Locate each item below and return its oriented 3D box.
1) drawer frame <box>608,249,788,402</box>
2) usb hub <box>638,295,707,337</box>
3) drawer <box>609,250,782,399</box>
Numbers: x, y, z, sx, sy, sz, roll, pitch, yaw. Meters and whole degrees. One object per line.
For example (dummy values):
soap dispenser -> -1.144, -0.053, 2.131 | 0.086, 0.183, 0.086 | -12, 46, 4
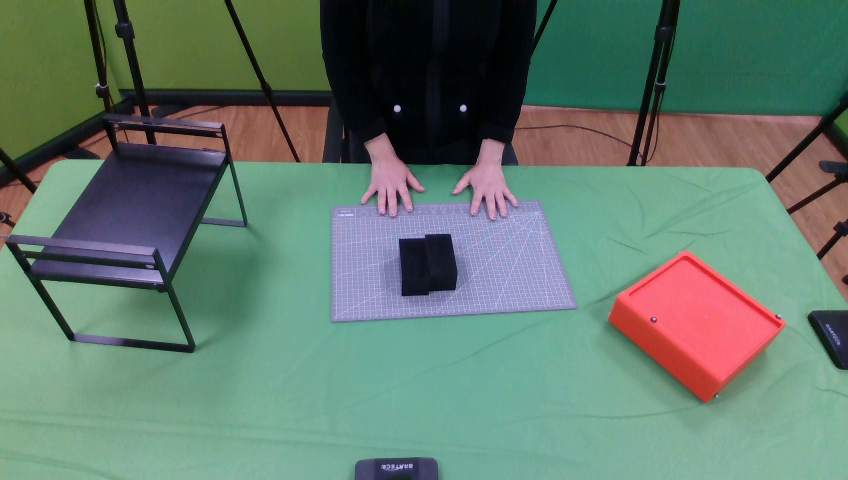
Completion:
drawer frame -> 0.470, 0.139, 1.053 | 0.202, 0.083, 0.212 | -28, 55, -28
usb hub -> 0.441, 0.134, 1.072 | 0.125, 0.025, 0.049 | -15, 35, -29
drawer -> 0.469, 0.140, 1.057 | 0.194, 0.073, 0.210 | -28, 55, -27
